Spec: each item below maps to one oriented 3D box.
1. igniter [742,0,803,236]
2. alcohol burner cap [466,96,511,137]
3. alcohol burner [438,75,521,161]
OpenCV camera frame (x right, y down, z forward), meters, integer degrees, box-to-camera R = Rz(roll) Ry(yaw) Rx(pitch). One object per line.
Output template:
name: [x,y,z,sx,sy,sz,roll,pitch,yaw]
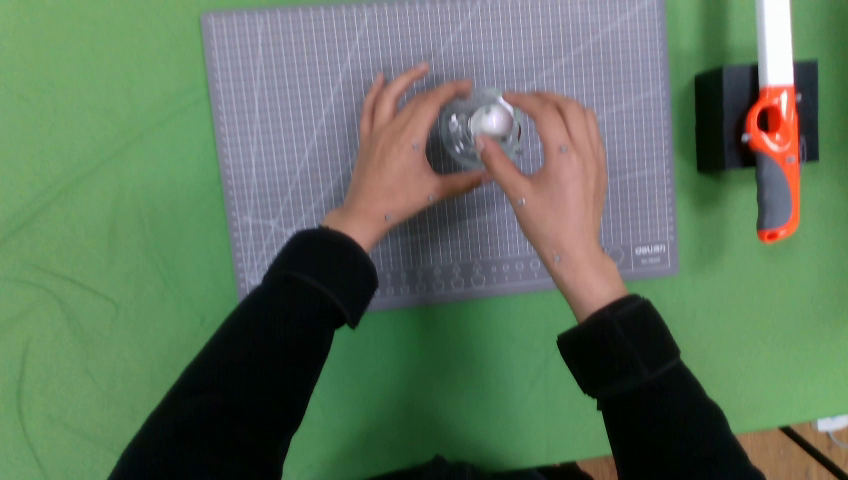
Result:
igniter: [0.329,-0.143,0.573,0.057,0.025,0.276,-3,94,-6]
alcohol burner cap: [0.056,-0.105,0.511,0.034,0.047,0.034,-1,96,-8]
alcohol burner: [0.053,-0.110,0.541,0.078,0.118,0.078,-1,96,-9]
